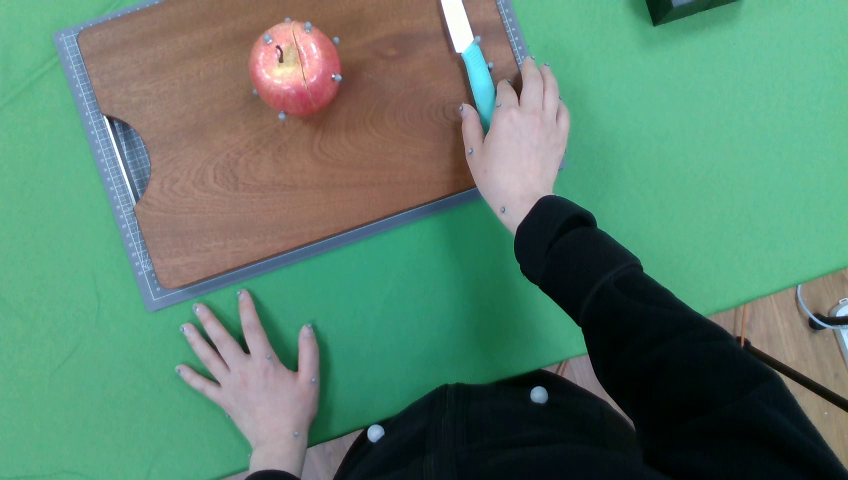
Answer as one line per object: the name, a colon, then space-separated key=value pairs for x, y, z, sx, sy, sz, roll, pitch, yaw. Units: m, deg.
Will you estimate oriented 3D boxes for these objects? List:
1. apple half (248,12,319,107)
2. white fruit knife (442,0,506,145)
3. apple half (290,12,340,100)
apple half: x=-0.130 y=-0.159 z=0.554 sx=0.053 sy=0.074 sz=0.081 roll=-14 pitch=93 yaw=3
white fruit knife: x=0.042 y=-0.194 z=0.585 sx=0.027 sy=0.016 sz=0.207 roll=-17 pitch=89 yaw=-12
apple half: x=-0.093 y=-0.169 z=0.553 sx=0.033 sy=0.081 sz=0.081 roll=-14 pitch=90 yaw=2
